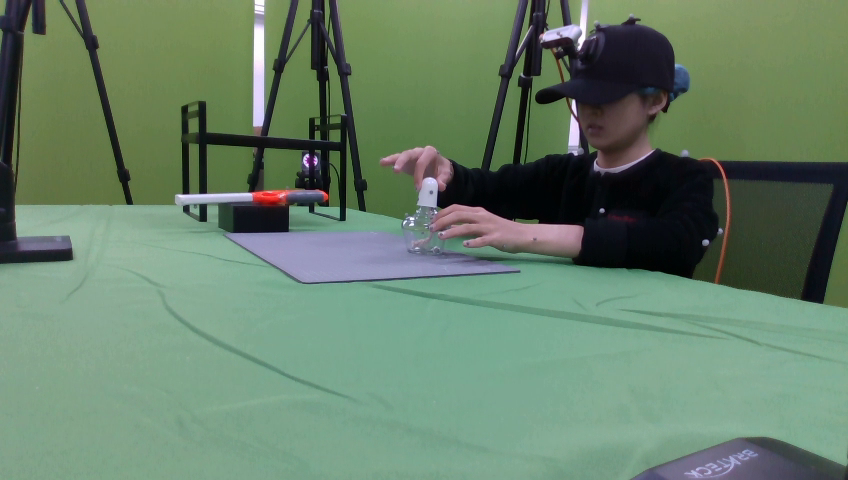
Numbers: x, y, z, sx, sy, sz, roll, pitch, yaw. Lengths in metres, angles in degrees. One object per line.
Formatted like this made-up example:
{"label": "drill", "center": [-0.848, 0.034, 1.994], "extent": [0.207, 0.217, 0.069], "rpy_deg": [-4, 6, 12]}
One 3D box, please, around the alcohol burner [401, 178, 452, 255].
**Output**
{"label": "alcohol burner", "center": [0.005, -0.036, 0.922], "extent": [0.078, 0.119, 0.078], "rpy_deg": [5, 7, 0]}

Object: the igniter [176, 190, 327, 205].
{"label": "igniter", "center": [-0.316, -0.080, 1.137], "extent": [0.278, 0.025, 0.057], "rpy_deg": [-4, 12, -33]}

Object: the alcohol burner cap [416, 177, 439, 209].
{"label": "alcohol burner cap", "center": [0.007, -0.072, 0.917], "extent": [0.034, 0.048, 0.034], "rpy_deg": [6, 5, 0]}
